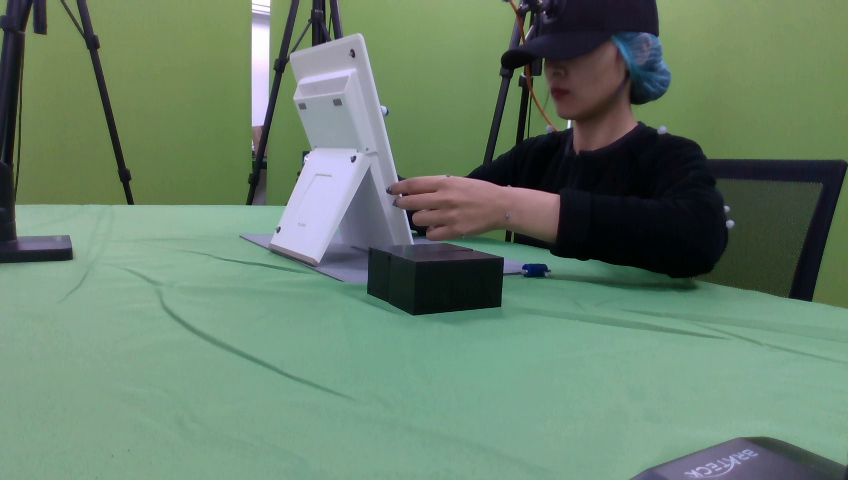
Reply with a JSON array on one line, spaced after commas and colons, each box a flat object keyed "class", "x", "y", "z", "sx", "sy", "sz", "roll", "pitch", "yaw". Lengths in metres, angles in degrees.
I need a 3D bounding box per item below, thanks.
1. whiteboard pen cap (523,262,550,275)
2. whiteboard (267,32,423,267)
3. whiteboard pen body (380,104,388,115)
[{"class": "whiteboard pen cap", "x": 0.145, "y": 0.037, "z": 0.776, "sx": 0.033, "sy": 0.018, "sz": 0.018, "roll": 1, "pitch": 6, "yaw": -29}, {"class": "whiteboard", "x": -0.153, "y": -0.098, "z": 0.818, "sx": 0.144, "sy": 0.305, "sz": 0.216, "roll": -25, "pitch": 21, "yaw": -28}, {"class": "whiteboard pen body", "x": -0.112, "y": -0.209, "z": 0.935, "sx": 0.017, "sy": 0.017, "sz": 0.141, "roll": 9, "pitch": 7, "yaw": 44}]
